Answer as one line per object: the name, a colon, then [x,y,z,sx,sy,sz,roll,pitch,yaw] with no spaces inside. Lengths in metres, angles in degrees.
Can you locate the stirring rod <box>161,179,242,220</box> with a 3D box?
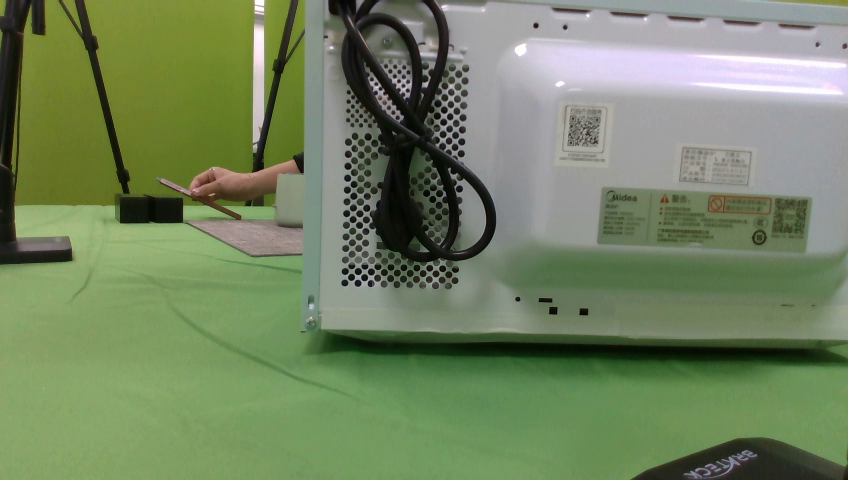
stirring rod: [-0.467,-0.084,1.274,0.177,0.006,0.014,28,33,-25]

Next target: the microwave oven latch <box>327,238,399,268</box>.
microwave oven latch: [-0.069,0.015,0.694,0.079,0.029,0.030,3,7,-3]

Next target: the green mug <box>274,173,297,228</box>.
green mug: [-0.242,-0.081,1.221,0.092,0.105,0.126,8,9,40]

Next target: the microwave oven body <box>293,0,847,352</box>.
microwave oven body: [0.122,-0.055,0.550,0.442,0.260,0.325,3,7,-5]

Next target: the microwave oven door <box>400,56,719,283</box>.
microwave oven door: [0.155,-0.077,0.697,0.356,0.243,0.039,2,8,-5]
